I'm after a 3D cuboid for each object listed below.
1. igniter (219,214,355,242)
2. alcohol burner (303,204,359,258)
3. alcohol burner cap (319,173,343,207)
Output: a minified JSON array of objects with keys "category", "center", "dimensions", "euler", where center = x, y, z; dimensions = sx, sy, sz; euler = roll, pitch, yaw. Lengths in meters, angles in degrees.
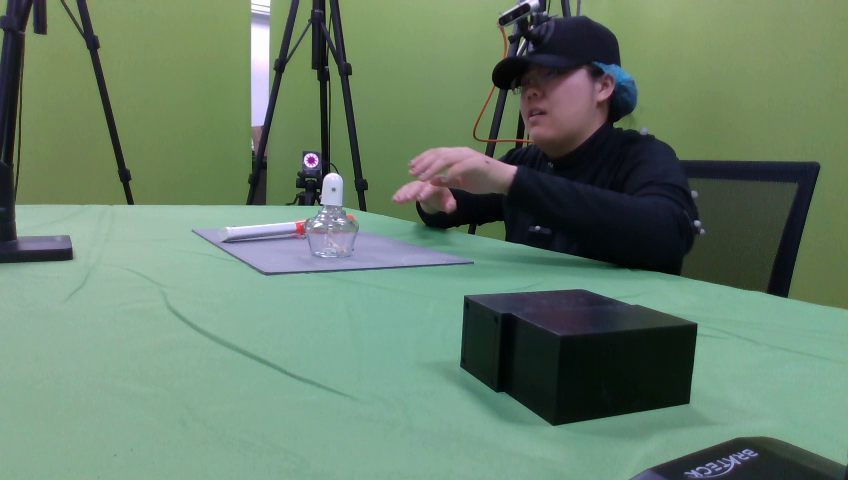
[{"category":"igniter","center":[-0.219,-0.021,1.033],"dimensions":[0.057,0.025,0.278],"euler":[-20,-7,39]},{"category":"alcohol burner","center":[-0.130,-0.035,0.850],"dimensions":[0.078,0.119,0.078],"euler":[2,5,0]},{"category":"alcohol burner cap","center":[-0.129,-0.070,0.845],"dimensions":[0.034,0.048,0.034],"euler":[4,5,0]}]
